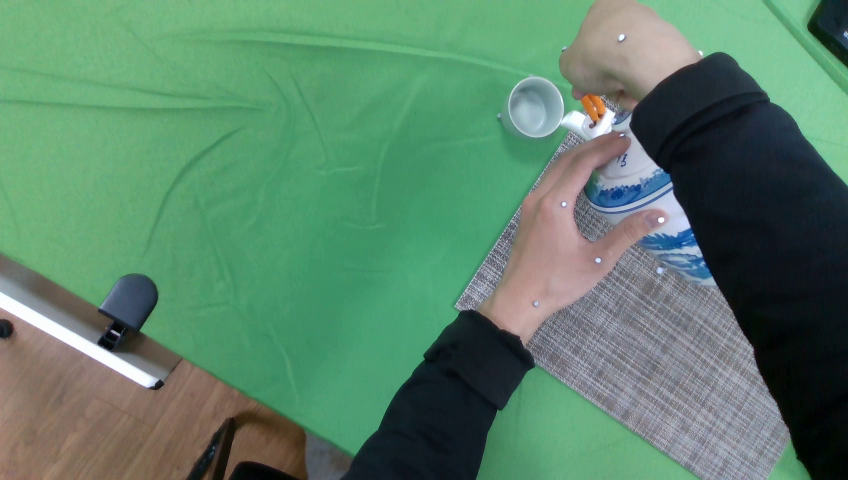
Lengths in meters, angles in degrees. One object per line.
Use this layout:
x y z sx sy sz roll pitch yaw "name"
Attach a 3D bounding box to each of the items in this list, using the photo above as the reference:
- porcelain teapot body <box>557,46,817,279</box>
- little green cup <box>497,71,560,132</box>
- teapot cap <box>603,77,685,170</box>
0.193 -0.080 0.529 0.227 0.204 0.145 32 92 -21 "porcelain teapot body"
0.107 -0.142 0.635 0.062 0.038 0.061 0 91 -13 "little green cup"
0.171 -0.096 0.486 0.044 0.085 0.085 32 84 -16 "teapot cap"
